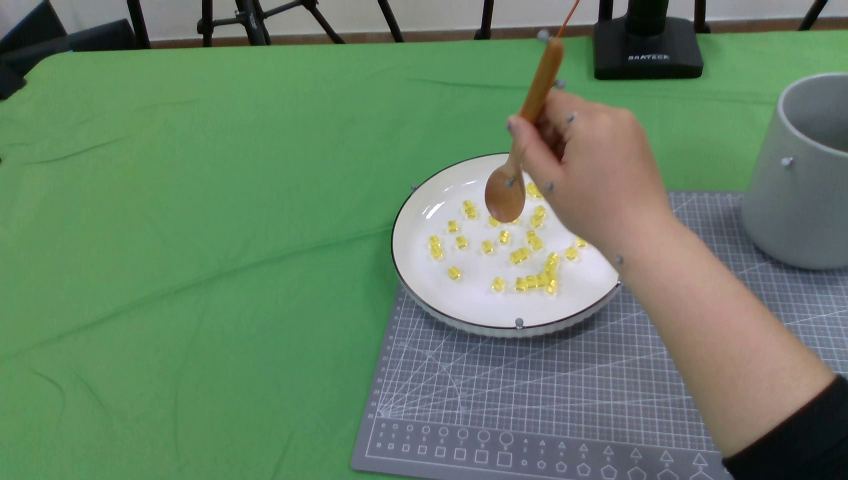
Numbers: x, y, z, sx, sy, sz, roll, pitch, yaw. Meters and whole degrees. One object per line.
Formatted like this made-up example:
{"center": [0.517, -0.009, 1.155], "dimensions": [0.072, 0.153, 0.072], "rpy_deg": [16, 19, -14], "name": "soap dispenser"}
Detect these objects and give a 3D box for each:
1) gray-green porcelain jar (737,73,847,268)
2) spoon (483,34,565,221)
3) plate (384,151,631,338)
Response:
{"center": [0.314, -0.048, 0.477], "dimensions": [0.106, 0.128, 0.105], "rpy_deg": [-5, 47, 5], "name": "gray-green porcelain jar"}
{"center": [0.067, -0.067, 0.421], "dimensions": [0.021, 0.195, 0.041], "rpy_deg": [-32, 71, -15], "name": "spoon"}
{"center": [0.071, 0.003, 0.529], "dimensions": [0.207, 0.039, 0.205], "rpy_deg": [-4, 47, 5], "name": "plate"}
